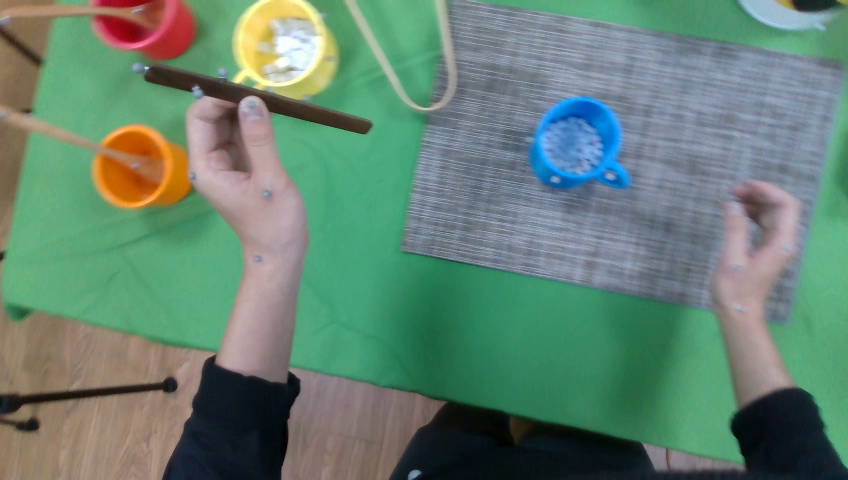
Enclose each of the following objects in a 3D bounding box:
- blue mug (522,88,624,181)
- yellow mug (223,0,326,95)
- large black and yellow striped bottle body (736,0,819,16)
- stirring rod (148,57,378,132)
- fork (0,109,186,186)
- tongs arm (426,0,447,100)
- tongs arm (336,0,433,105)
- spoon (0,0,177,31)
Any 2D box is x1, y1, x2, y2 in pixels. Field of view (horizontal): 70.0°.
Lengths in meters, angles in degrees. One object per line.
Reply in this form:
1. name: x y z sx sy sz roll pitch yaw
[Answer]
1. blue mug: 0.164 -0.100 0.651 0.116 0.106 0.082 36 93 3
2. yellow mug: -0.181 -0.212 0.697 0.131 0.064 0.100 -42 89 6
3. large black and yellow striped bottle body: 0.388 -0.314 0.592 0.130 0.184 0.130 0 91 5
4. stirring rod: -0.101 -0.097 0.419 0.014 0.177 0.005 -51 55 29
5. fork: -0.368 -0.102 0.671 0.209 0.018 0.028 20 92 -40
6. tongs arm: -0.025 -0.353 0.679 0.028 0.027 0.388 -15 97 -4
7. tongs arm: -0.102 -0.320 0.683 0.051 0.026 0.385 -28 96 1
8. spoon: -0.375 -0.253 0.672 0.194 0.021 0.041 -15 89 -39
